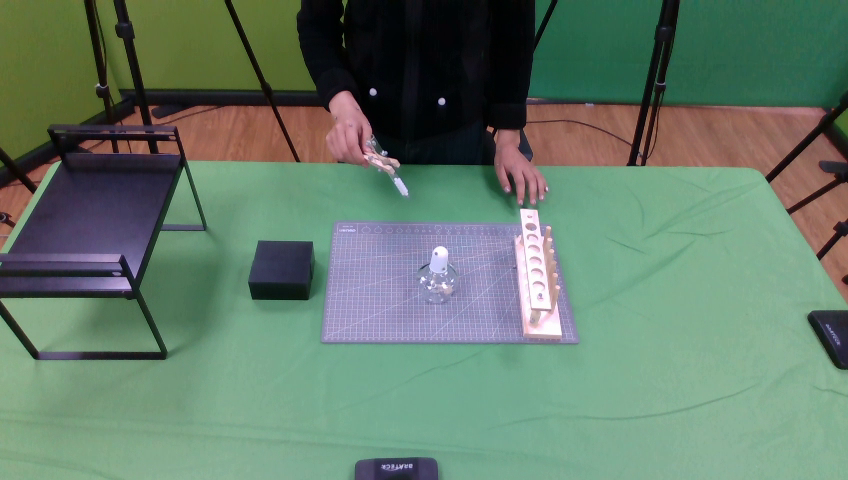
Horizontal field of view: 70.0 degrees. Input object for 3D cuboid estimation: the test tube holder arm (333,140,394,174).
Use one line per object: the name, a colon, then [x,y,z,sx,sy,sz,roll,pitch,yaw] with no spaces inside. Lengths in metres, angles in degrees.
test tube holder arm: [-0.112,-0.152,1.095,0.013,0.015,0.177,-46,46,-18]

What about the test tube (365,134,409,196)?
test tube: [-0.062,-0.128,1.056,0.017,0.151,0.017,-15,48,18]

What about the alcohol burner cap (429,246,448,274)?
alcohol burner cap: [0.027,0.032,1.052,0.034,0.048,0.033,4,40,-3]

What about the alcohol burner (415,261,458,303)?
alcohol burner: [0.024,0.057,1.078,0.078,0.119,0.077,3,44,-2]

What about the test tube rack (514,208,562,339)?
test tube rack: [0.212,0.056,1.113,0.067,0.085,0.241,3,46,-1]

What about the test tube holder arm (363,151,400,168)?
test tube holder arm: [-0.078,-0.142,1.067,0.087,0.015,0.010,19,61,38]
